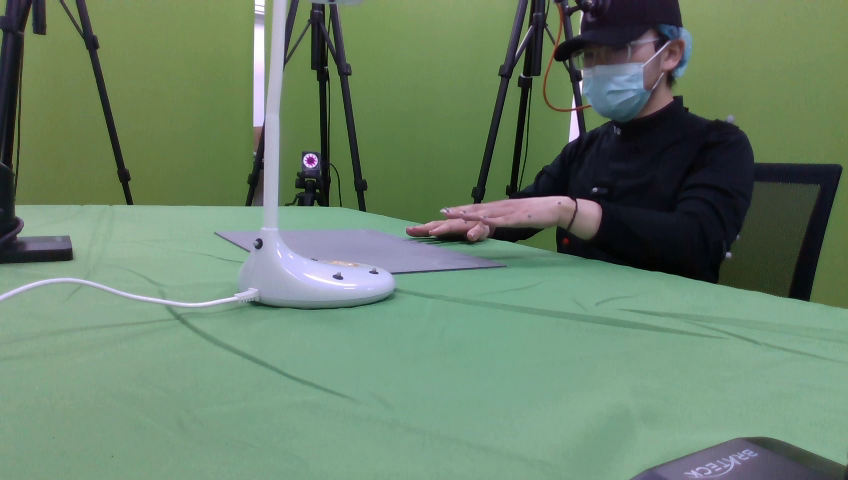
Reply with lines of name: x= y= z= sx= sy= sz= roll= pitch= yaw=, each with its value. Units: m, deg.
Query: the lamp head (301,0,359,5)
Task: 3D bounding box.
lamp head: x=-0.096 y=-0.314 z=0.610 sx=0.112 sy=0.123 sz=0.112 roll=-4 pitch=50 yaw=5

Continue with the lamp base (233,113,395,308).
lamp base: x=-0.113 y=-0.033 z=0.600 sx=0.160 sy=0.180 sz=0.180 roll=6 pitch=11 yaw=28
